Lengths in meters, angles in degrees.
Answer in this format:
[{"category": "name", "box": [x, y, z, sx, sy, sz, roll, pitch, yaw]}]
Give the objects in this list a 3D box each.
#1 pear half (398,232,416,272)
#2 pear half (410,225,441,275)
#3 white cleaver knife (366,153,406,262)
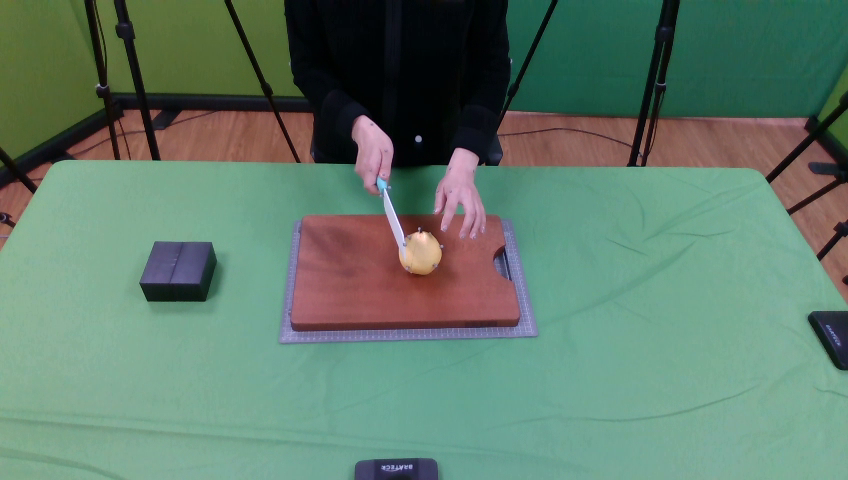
[{"category": "pear half", "box": [-0.031, 0.018, 1.092, 0.031, 0.088, 0.070, 1, 51, -2]}, {"category": "pear half", "box": [0.004, 0.013, 1.085, 0.056, 0.110, 0.076, 1, 51, -2]}, {"category": "white cleaver knife", "box": [-0.069, -0.064, 1.061, 0.021, 0.066, 0.284, -9, 39, -9]}]
